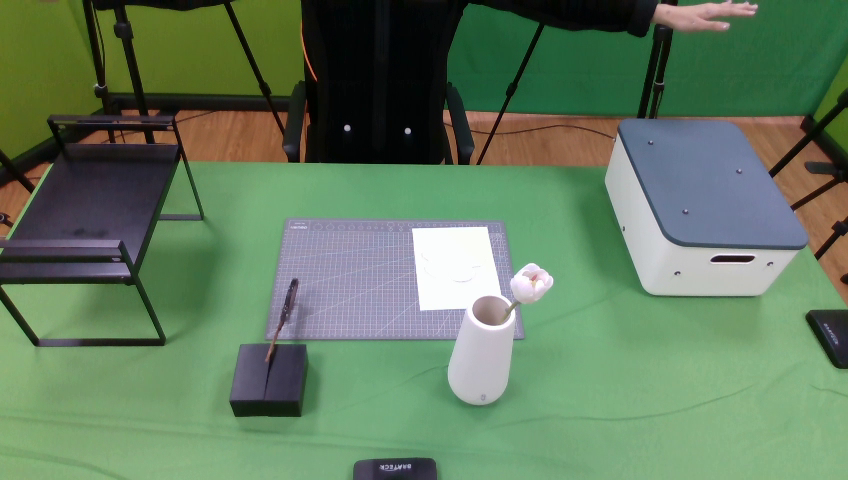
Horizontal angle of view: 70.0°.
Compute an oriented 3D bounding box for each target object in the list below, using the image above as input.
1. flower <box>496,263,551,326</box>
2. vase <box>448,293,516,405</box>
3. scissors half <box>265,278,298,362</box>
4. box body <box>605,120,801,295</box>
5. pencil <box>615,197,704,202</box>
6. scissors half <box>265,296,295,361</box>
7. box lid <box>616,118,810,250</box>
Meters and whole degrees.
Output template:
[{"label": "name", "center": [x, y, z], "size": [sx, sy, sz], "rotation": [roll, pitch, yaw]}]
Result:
[{"label": "flower", "center": [0.102, 0.120, 0.853], "size": [0.044, 0.363, 0.038], "rotation": [-2, 64, -10]}, {"label": "vase", "center": [0.091, 0.169, 0.921], "size": [0.098, 0.201, 0.097], "rotation": [3, 47, -3]}, {"label": "scissors half", "center": [-0.234, 0.127, 0.993], "size": [0.013, 0.040, 0.174], "rotation": [12, 46, -3]}, {"label": "box body", "center": [0.529, -0.068, 1.205], "size": [0.254, 0.161, 0.361], "rotation": [1, 46, -4]}, {"label": "pencil", "center": [0.512, -0.090, 1.322], "size": [0.194, 0.012, 0.012], "rotation": [1, 46, 0]}, {"label": "scissors half", "center": [-0.239, 0.143, 1.005], "size": [0.013, 0.040, 0.174], "rotation": [17, 28, -6]}, {"label": "box lid", "center": [0.533, -0.118, 1.151], "size": [0.263, 0.015, 0.369], "rotation": [1, 45, -4]}]
